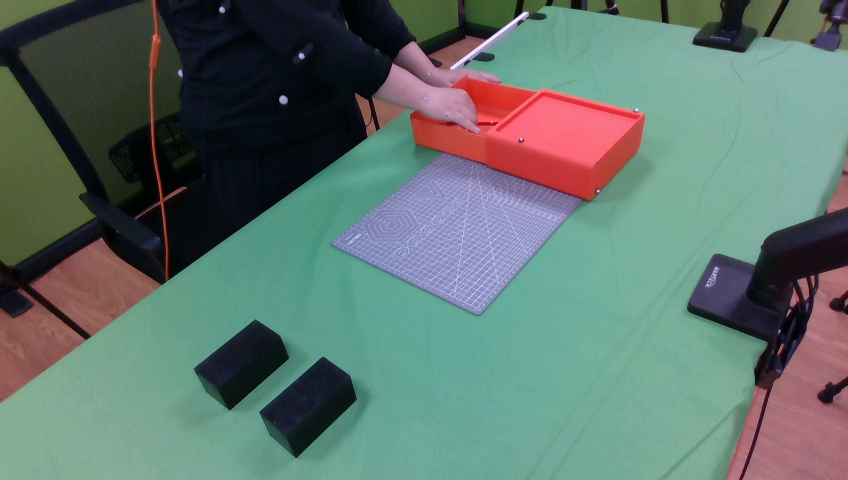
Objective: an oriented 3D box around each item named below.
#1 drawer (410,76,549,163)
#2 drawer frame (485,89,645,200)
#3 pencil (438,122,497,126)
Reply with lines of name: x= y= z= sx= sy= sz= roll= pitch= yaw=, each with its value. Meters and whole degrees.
drawer: x=0.114 y=-0.238 z=1.190 sx=0.210 sy=0.073 sz=0.195 roll=22 pitch=47 yaw=34
drawer frame: x=0.253 y=-0.180 z=1.094 sx=0.212 sy=0.083 sz=0.202 roll=24 pitch=48 yaw=31
pencil: x=0.124 y=-0.229 z=1.190 sx=0.194 sy=0.012 sz=0.012 roll=-1 pitch=40 yaw=-5
